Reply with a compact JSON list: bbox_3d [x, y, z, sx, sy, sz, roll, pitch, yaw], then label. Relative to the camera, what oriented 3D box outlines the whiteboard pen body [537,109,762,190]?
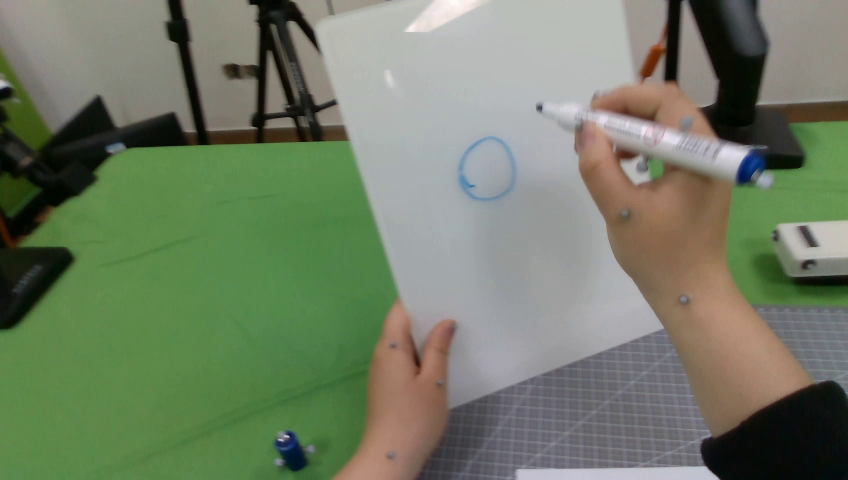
[{"bbox_3d":[0.111,-0.054,0.327,0.017,0.017,0.139,-31,38,-23],"label":"whiteboard pen body"}]

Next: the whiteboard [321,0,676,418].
[{"bbox_3d":[0.059,-0.049,0.511,0.217,0.307,0.143,-18,19,-8],"label":"whiteboard"}]

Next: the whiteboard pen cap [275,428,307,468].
[{"bbox_3d":[-0.101,0.159,0.463,0.018,0.033,0.018,-6,40,5],"label":"whiteboard pen cap"}]

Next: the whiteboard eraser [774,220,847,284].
[{"bbox_3d":[0.372,0.010,0.525,0.112,0.042,0.055,-2,42,11],"label":"whiteboard eraser"}]
